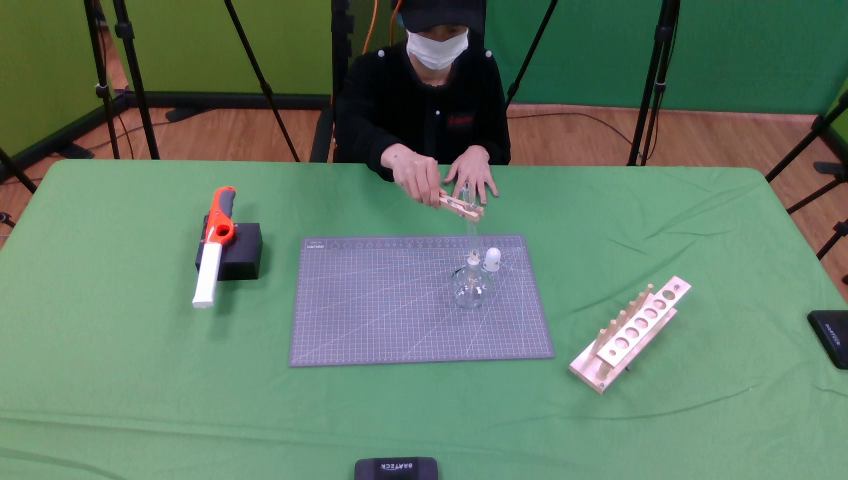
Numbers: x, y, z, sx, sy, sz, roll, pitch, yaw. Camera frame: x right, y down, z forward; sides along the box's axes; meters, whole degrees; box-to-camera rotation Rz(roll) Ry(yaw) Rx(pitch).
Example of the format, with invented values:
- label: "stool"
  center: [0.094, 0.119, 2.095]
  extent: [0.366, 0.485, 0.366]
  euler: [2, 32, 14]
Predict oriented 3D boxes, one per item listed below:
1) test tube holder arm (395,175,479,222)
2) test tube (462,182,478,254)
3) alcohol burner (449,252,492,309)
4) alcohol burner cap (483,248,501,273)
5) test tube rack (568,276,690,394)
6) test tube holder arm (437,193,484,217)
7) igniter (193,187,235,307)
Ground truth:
- label: "test tube holder arm"
  center: [0.018, -0.070, 0.993]
  extent: [0.177, 0.015, 0.013]
  euler: [28, 55, 32]
- label: "test tube"
  center: [0.075, -0.032, 0.973]
  extent: [0.017, 0.151, 0.017]
  euler: [-5, 45, 6]
- label: "alcohol burner"
  center: [0.084, 0.066, 1.074]
  extent: [0.078, 0.120, 0.077]
  euler: [1, 44, -1]
- label: "alcohol burner cap"
  center: [0.130, 0.037, 1.156]
  extent: [0.034, 0.048, 0.033]
  euler: [1, 46, -1]
- label: "test tube rack"
  center: [0.354, 0.149, 1.039]
  extent: [0.242, 0.085, 0.066]
  euler: [-34, 56, -31]
- label: "test tube holder arm"
  center: [0.056, -0.058, 0.973]
  extent: [0.087, 0.015, 0.010]
  euler: [20, 52, 27]
- label: "igniter"
  center: [-0.379, 0.003, 1.096]
  extent: [0.057, 0.025, 0.274]
  euler: [-1, 49, -6]
